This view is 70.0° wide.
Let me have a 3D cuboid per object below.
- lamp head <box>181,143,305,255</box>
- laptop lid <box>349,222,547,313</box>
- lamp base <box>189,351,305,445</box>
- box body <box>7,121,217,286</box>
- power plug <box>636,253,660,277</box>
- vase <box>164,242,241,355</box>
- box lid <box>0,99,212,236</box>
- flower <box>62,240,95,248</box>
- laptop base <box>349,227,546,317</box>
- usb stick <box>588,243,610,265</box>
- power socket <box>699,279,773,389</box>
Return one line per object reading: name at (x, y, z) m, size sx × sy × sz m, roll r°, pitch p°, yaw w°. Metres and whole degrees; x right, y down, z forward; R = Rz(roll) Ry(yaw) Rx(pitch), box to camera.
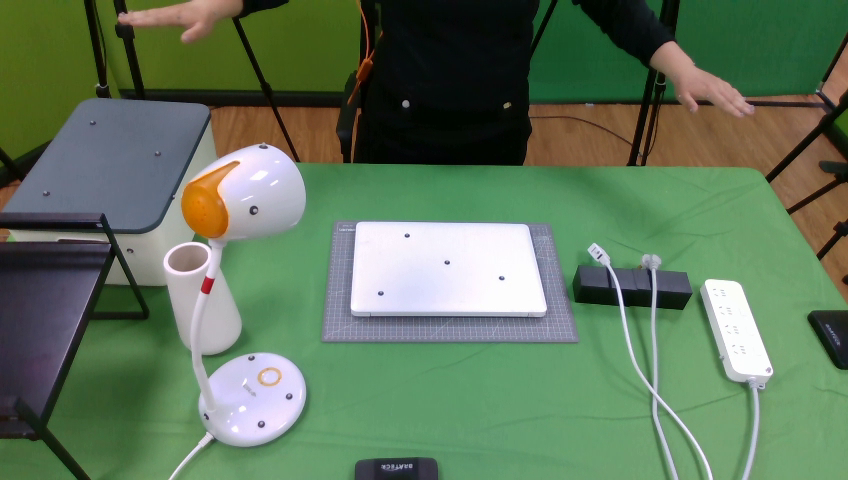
lamp head at (-0.216, -0.044, 0.697) m, size 0.112 × 0.113 × 0.123 m, roll 23°, pitch 31°, yaw 17°
laptop lid at (0.041, 0.045, 1.143) m, size 0.357 × 0.013 × 0.240 m, roll 2°, pitch 44°, yaw -3°
lamp base at (-0.268, 0.196, 0.876) m, size 0.160 × 0.181 × 0.179 m, roll 26°, pitch 52°, yaw 20°
box body at (-0.560, -0.092, 1.145) m, size 0.254 × 0.161 × 0.361 m, roll 3°, pitch 46°, yaw -2°
power plug at (0.415, 0.050, 1.139) m, size 0.035 × 0.053 × 0.072 m, roll 45°, pitch 49°, yaw 10°
vase at (-0.349, 0.096, 0.954) m, size 0.098 × 0.201 × 0.097 m, roll 3°, pitch 47°, yaw -3°
box lid at (-0.556, -0.143, 1.090) m, size 0.263 × 0.015 × 0.369 m, roll 2°, pitch 46°, yaw -1°
flower at (-0.557, -0.053, 1.195) m, size 0.044 × 0.038 × 0.361 m, roll 47°, pitch 54°, yaw 2°
laptop base at (0.040, 0.055, 1.149) m, size 0.355 × 0.023 × 0.234 m, roll 1°, pitch 42°, yaw -4°
usb stick at (0.336, 0.024, 1.172) m, size 0.027 × 0.021 × 0.059 m, roll 33°, pitch 16°, yaw -13°
power socket at (0.551, 0.157, 1.081) m, size 0.072 × 0.033 × 0.225 m, roll 5°, pitch 46°, yaw 1°
